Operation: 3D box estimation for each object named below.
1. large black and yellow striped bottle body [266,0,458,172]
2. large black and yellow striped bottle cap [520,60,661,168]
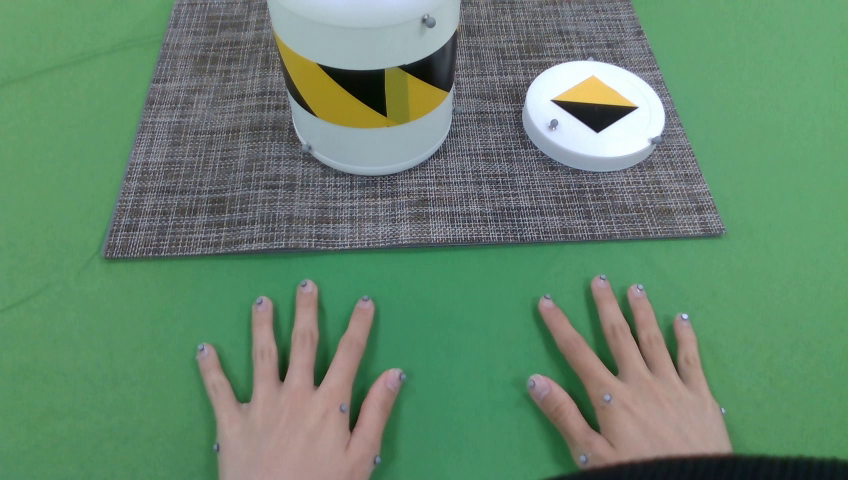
[{"bbox_3d":[-0.042,-0.153,0.428,0.131,0.185,0.129,1,56,-1],"label":"large black and yellow striped bottle body"},{"bbox_3d":[0.138,-0.108,0.505,0.115,0.019,0.114,2,55,-2],"label":"large black and yellow striped bottle cap"}]
